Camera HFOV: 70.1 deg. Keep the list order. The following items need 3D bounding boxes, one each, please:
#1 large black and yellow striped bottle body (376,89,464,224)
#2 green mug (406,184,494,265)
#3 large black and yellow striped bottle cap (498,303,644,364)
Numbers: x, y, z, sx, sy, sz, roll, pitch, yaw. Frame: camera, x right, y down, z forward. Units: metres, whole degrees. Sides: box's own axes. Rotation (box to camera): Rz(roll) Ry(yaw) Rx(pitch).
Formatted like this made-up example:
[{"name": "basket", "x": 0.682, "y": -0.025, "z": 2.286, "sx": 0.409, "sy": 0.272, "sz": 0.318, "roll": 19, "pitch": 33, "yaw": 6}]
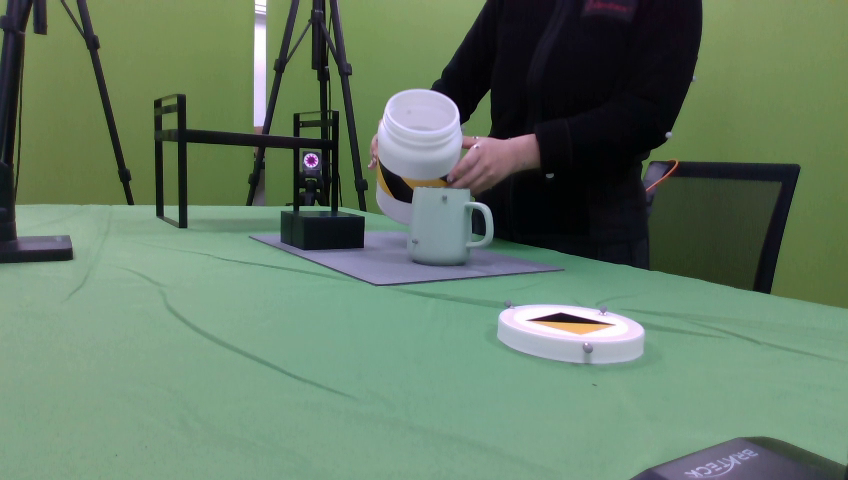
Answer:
[{"name": "large black and yellow striped bottle body", "x": -0.008, "y": -0.128, "z": 0.942, "sx": 0.131, "sy": 0.184, "sz": 0.130, "roll": 3, "pitch": 48, "yaw": -3}, {"name": "green mug", "x": 0.038, "y": -0.021, "z": 0.828, "sx": 0.125, "sy": 0.105, "sz": 0.093, "roll": 6, "pitch": 8, "yaw": 29}, {"name": "large black and yellow striped bottle cap", "x": 0.117, "y": 0.072, "z": 0.486, "sx": 0.115, "sy": 0.019, "sz": 0.115, "roll": 1, "pitch": 8, "yaw": 0}]
